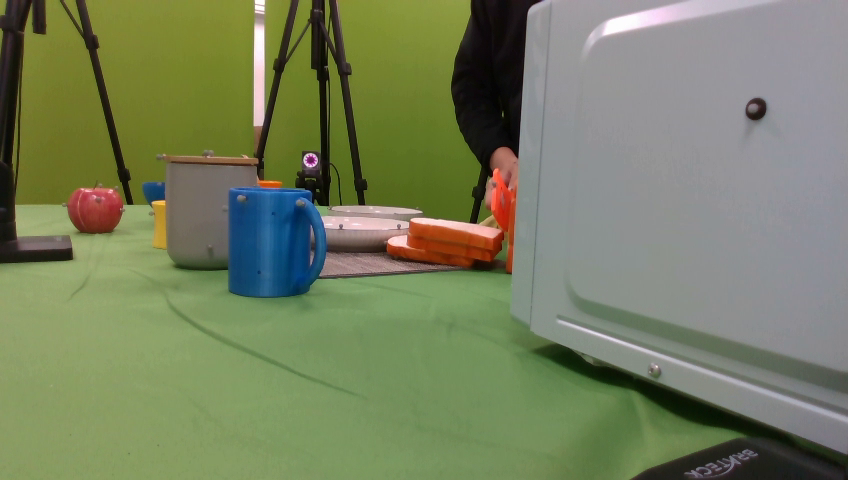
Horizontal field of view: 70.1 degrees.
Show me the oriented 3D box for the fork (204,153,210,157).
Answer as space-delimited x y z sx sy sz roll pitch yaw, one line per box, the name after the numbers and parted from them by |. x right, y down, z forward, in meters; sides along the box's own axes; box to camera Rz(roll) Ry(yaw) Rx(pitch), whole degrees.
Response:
-0.480 -0.135 1.411 0.028 0.018 0.207 1 -34 0 | fork

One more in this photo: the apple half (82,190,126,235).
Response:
-0.516 -0.046 0.994 0.032 0.081 0.081 0 6 26 | apple half

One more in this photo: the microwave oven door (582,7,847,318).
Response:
0.295 -0.067 0.569 0.358 0.243 0.039 -3 8 -31 | microwave oven door

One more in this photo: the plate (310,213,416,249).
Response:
-0.116 -0.014 0.967 0.208 0.039 0.207 2 7 0 | plate

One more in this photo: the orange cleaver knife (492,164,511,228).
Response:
0.120 -0.055 0.870 0.012 0.077 0.212 -2 -5 17 | orange cleaver knife

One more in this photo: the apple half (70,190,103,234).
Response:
-0.552 -0.047 1.009 0.053 0.074 0.081 0 9 26 | apple half

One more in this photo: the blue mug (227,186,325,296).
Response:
-0.146 0.000 0.618 0.116 0.106 0.083 7 9 32 | blue mug

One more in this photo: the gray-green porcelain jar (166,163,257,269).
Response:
-0.263 -0.031 0.754 0.106 0.126 0.106 2 7 0 | gray-green porcelain jar

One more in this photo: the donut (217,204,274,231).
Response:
-0.317 -0.038 1.080 0.099 0.048 0.099 3 7 0 | donut

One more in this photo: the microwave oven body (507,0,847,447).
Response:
0.331 -0.042 0.425 0.444 0.260 0.324 -2 8 -31 | microwave oven body

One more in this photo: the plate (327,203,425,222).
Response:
-0.102 -0.053 1.299 0.209 0.038 0.209 2 8 0 | plate

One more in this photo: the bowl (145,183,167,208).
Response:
-0.459 -0.069 1.175 0.151 0.077 0.151 3 7 0 | bowl

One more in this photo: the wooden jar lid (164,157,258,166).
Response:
-0.261 -0.093 0.746 0.108 0.020 0.108 0 9 0 | wooden jar lid

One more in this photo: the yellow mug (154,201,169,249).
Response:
-0.337 -0.022 0.899 0.130 0.064 0.100 8 9 34 | yellow mug

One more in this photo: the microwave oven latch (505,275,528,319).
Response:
0.100 0.041 0.471 0.079 0.029 0.030 -1 7 -29 | microwave oven latch

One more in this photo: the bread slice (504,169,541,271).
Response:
0.135 -0.029 0.821 0.018 0.134 0.107 8 12 22 | bread slice

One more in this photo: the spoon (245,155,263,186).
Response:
-0.421 -0.150 1.540 0.042 0.193 0.021 -6 -34 -36 | spoon

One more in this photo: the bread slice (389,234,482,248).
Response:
0.016 0.002 0.873 0.131 0.019 0.105 1 1 2 | bread slice
